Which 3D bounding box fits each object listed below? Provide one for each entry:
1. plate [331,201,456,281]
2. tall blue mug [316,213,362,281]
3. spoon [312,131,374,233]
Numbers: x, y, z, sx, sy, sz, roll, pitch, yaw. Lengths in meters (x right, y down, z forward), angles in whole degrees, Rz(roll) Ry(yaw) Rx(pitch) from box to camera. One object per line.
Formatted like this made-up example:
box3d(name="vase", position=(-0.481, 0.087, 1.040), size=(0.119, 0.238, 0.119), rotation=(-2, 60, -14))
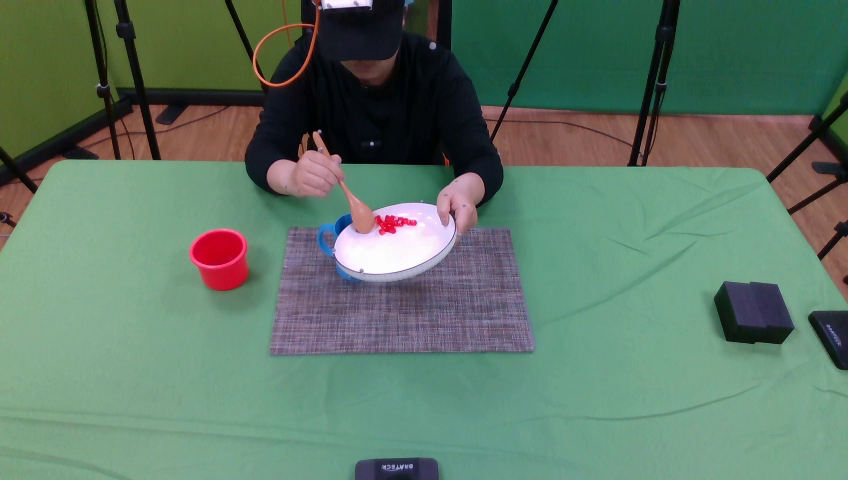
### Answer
box3d(name="plate", position=(-0.048, 0.005, 0.999), size=(0.207, 0.039, 0.206), rotation=(-9, 33, 6))
box3d(name="tall blue mug", position=(-0.142, 0.014, 1.109), size=(0.107, 0.108, 0.077), rotation=(-4, 48, -9))
box3d(name="spoon", position=(-0.141, -0.098, 1.035), size=(0.041, 0.021, 0.194), rotation=(-33, 100, -19))
